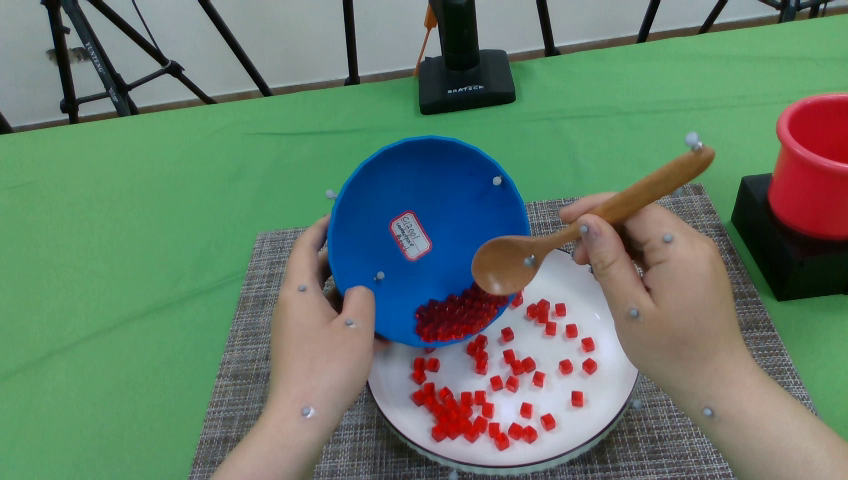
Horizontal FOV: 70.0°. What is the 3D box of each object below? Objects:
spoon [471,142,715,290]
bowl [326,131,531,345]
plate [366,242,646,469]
[{"bbox_3d":[0.085,-0.007,0.350,0.021,0.193,0.041,-36,91,-31],"label":"spoon"},{"bbox_3d":[-0.004,-0.002,0.459,0.151,0.152,0.076,-25,10,-14],"label":"bowl"},{"bbox_3d":[0.060,0.081,0.468,0.207,0.039,0.205,-6,45,6],"label":"plate"}]
